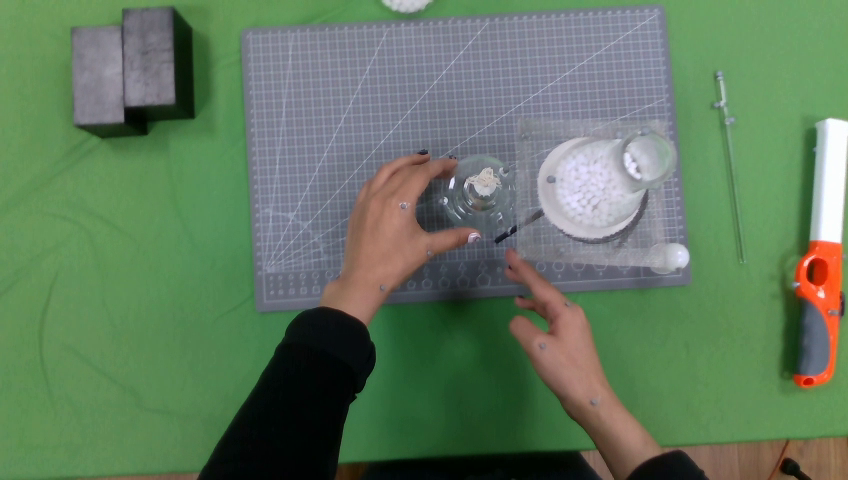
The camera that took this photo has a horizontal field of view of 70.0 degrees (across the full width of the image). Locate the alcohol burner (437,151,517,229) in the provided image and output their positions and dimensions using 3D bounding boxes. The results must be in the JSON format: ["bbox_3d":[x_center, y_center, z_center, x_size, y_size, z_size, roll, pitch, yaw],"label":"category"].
[{"bbox_3d":[0.051,-0.050,0.576,0.078,0.119,0.078,0,87,2],"label":"alcohol burner"}]

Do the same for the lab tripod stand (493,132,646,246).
[{"bbox_3d":[0.137,-0.038,0.567,0.148,0.131,0.148,0,88,0],"label":"lab tripod stand"}]

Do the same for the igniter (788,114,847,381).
[{"bbox_3d":[0.406,0.008,0.623,0.057,0.025,0.276,8,86,-10],"label":"igniter"}]

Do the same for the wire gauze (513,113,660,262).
[{"bbox_3d":[0.135,-0.044,0.501,0.125,0.011,0.121,2,89,-2],"label":"wire gauze"}]

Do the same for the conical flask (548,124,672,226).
[{"bbox_3d":[0.139,-0.052,0.443,0.075,0.122,0.075,0,88,0],"label":"conical flask"}]

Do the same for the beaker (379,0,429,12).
[{"bbox_3d":[-0.019,-0.278,0.599,0.084,0.100,0.074,32,87,1],"label":"beaker"}]

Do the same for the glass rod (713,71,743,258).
[{"bbox_3d":[0.318,-0.080,0.636,0.008,0.008,0.199,-5,86,-1],"label":"glass rod"}]

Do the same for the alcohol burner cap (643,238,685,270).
[{"bbox_3d":[0.244,0.013,0.610,0.034,0.048,0.034,0,86,0],"label":"alcohol burner cap"}]
